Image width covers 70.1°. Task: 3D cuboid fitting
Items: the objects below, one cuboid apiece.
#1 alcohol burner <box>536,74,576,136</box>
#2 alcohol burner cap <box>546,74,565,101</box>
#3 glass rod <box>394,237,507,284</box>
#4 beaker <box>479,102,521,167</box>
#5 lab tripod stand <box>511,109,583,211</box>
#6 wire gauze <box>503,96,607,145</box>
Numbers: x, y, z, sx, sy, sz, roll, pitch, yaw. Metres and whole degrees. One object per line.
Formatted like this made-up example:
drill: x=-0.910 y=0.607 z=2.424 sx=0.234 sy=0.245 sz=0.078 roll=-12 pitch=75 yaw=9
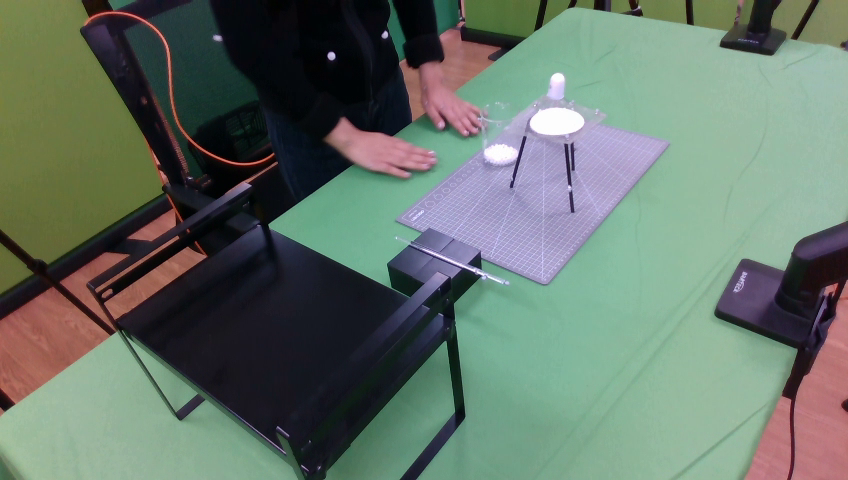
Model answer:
alcohol burner: x=0.256 y=-0.264 z=1.173 sx=0.078 sy=0.119 sz=0.077 roll=-6 pitch=40 yaw=6
alcohol burner cap: x=0.251 y=-0.292 z=1.150 sx=0.034 sy=0.048 sz=0.033 roll=0 pitch=41 yaw=0
glass rod: x=0.033 y=0.028 z=0.875 sx=0.198 sy=0.008 sz=0.008 roll=21 pitch=48 yaw=31
beaker: x=0.143 y=-0.195 z=1.120 sx=0.074 sy=0.101 sz=0.084 roll=3 pitch=41 yaw=12
lab tripod stand: x=0.220 y=-0.138 z=1.014 sx=0.148 sy=0.132 sz=0.147 roll=-3 pitch=41 yaw=3
wire gauze: x=0.211 y=-0.192 z=0.975 sx=0.120 sy=0.011 sz=0.125 roll=24 pitch=49 yaw=32
